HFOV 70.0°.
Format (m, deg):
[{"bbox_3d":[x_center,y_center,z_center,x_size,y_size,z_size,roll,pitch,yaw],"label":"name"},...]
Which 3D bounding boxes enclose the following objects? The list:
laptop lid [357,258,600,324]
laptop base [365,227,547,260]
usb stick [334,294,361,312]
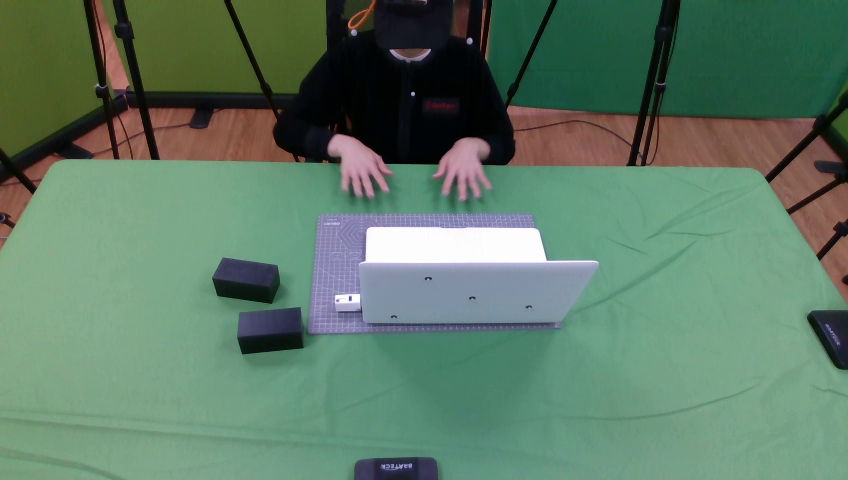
[{"bbox_3d":[0.075,0.087,0.959,0.357,0.242,0.013,1,60,-5],"label":"laptop lid"},{"bbox_3d":[0.064,0.062,1.144,0.355,0.023,0.234,0,42,-4],"label":"laptop base"},{"bbox_3d":[-0.128,0.111,1.066,0.059,0.027,0.021,1,45,-6],"label":"usb stick"}]
